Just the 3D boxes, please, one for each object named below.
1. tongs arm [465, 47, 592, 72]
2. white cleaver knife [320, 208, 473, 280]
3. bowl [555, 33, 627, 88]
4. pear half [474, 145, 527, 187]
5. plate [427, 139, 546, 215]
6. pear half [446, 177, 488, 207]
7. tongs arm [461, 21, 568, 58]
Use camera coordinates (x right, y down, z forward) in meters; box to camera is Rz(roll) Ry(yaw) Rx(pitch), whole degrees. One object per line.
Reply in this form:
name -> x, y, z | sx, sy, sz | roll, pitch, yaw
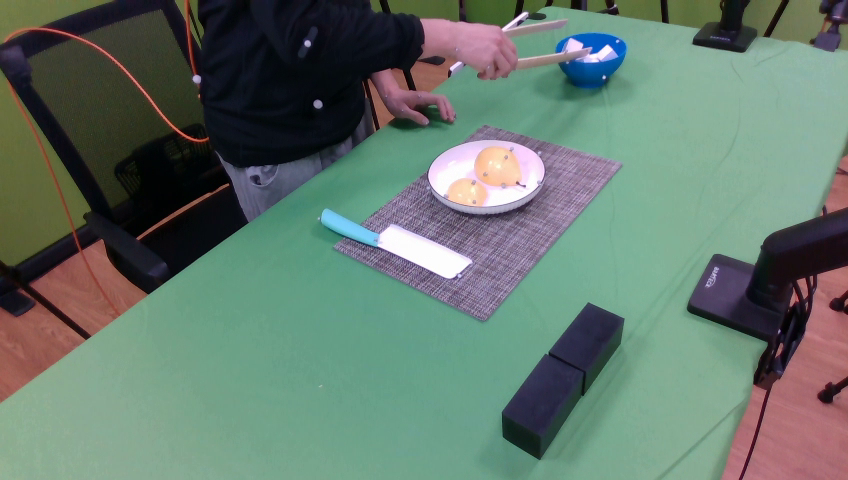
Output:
tongs arm -> 0.214, -0.359, 1.163 | 0.387, 0.026, 0.050 | -26, 76, -44
white cleaver knife -> -0.053, 0.001, 0.978 | 0.284, 0.021, 0.066 | 23, 40, 26
bowl -> 0.360, -0.384, 1.318 | 0.151, 0.077, 0.150 | -4, 41, 4
pear half -> 0.140, -0.129, 1.059 | 0.076, 0.056, 0.109 | -37, 52, -24
plate -> 0.109, -0.107, 1.058 | 0.207, 0.039, 0.206 | -4, 40, 4
pear half -> 0.073, -0.086, 1.032 | 0.070, 0.031, 0.087 | -20, 36, -9
tongs arm -> 0.185, -0.396, 1.172 | 0.389, 0.027, 0.028 | -30, 82, -45
